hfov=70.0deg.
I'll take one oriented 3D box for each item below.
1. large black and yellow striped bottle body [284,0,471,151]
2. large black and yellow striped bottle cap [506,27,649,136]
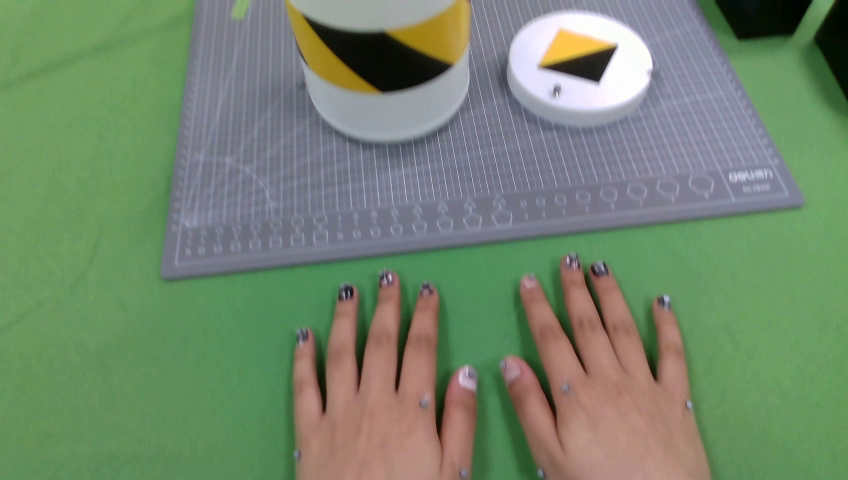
[{"bbox_3d":[-0.031,-0.168,0.422,0.131,0.185,0.129,-1,57,2],"label":"large black and yellow striped bottle body"},{"bbox_3d":[0.125,-0.132,0.496,0.115,0.019,0.114,-1,56,1],"label":"large black and yellow striped bottle cap"}]
